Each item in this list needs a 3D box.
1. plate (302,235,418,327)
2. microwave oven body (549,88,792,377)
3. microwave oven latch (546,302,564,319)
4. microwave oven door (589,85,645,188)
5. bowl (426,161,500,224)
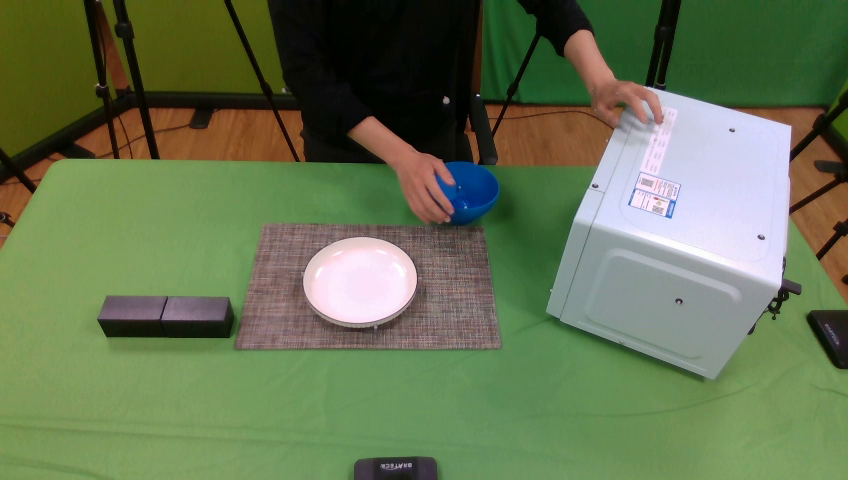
[{"bbox_3d":[-0.114,0.077,1.098,0.208,0.039,0.206,2,46,-2],"label":"plate"},{"bbox_3d":[0.456,-0.028,1.088,0.325,0.261,0.440,20,47,16],"label":"microwave oven body"},{"bbox_3d":[0.242,0.102,1.081,0.030,0.029,0.079,22,48,17],"label":"microwave oven latch"},{"bbox_3d":[0.342,-0.107,1.149,0.039,0.245,0.354,20,48,15],"label":"microwave oven door"},{"bbox_3d":[0.077,-0.086,1.248,0.151,0.077,0.150,2,46,-2],"label":"bowl"}]
